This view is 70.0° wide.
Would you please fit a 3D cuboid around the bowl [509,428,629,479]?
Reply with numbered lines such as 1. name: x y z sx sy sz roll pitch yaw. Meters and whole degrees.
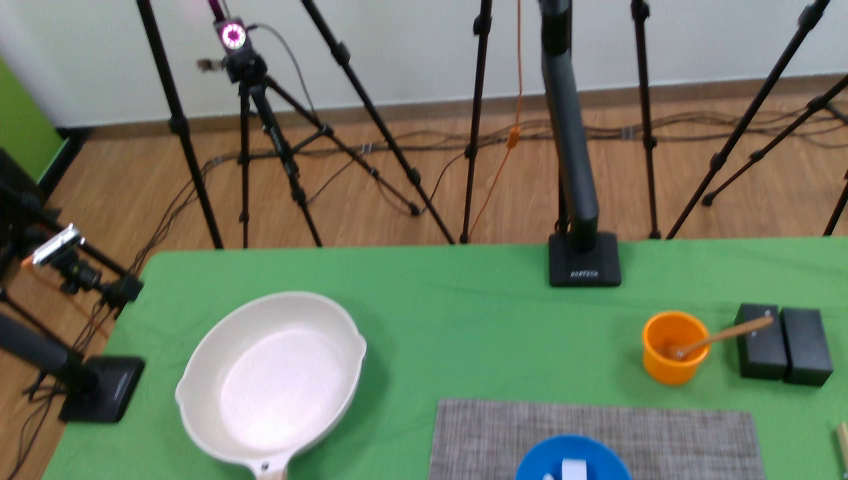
1. bowl: 0.187 0.331 0.786 0.151 0.077 0.150 -6 50 7

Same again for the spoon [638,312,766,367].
1. spoon: 0.390 0.140 0.863 0.022 0.194 0.041 26 50 -24

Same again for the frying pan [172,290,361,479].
1. frying pan: -0.230 0.283 0.900 0.307 0.104 0.482 -14 41 2

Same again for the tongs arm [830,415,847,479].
1. tongs arm: 0.540 0.390 0.705 0.028 0.028 0.384 0 51 10
